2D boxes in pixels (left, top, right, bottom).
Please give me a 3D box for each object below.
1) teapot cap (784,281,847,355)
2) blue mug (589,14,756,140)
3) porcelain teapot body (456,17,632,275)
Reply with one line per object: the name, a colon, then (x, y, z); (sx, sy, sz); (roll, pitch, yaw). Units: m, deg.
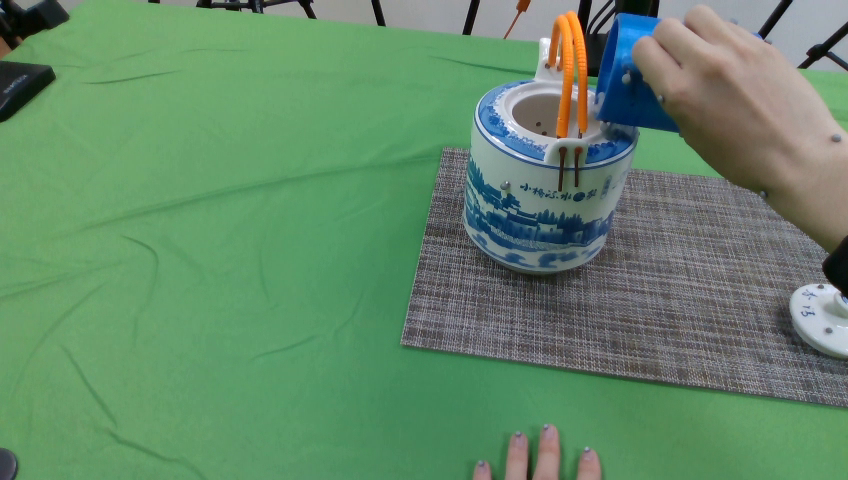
teapot cap: (0.367, 0.064, 0.539); (0.085, 0.044, 0.084); (4, 42, -3)
blue mug: (0.186, -0.124, 0.460); (0.106, 0.082, 0.116); (10, 12, 6)
porcelain teapot body: (0.109, -0.105, 0.569); (0.145, 0.227, 0.203); (2, 43, -2)
